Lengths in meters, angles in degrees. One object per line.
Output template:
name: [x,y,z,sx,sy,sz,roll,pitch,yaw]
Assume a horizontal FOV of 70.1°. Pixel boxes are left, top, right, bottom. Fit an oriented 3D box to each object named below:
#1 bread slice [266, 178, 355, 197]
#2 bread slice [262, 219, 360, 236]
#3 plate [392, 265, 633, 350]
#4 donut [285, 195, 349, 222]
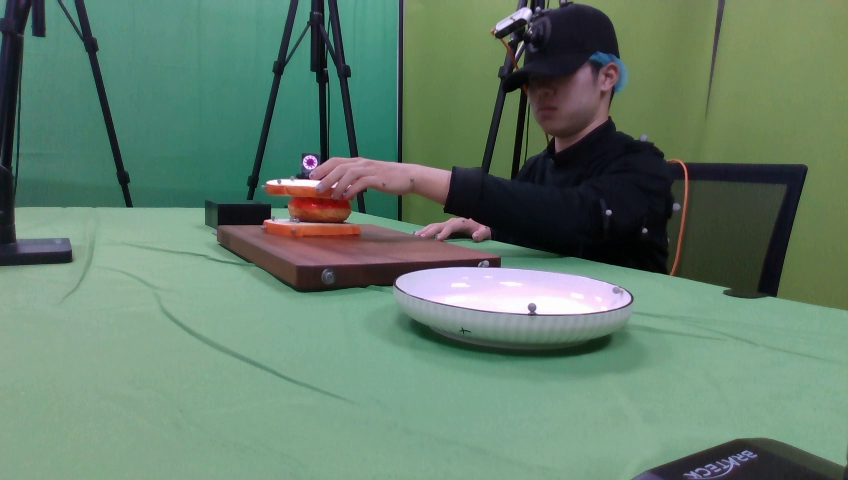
bread slice: [-0.172,-0.080,0.923,0.135,0.018,0.106,0,10,-11]
bread slice: [-0.179,-0.021,0.931,0.132,0.019,0.104,-2,7,-35]
plate: [0.075,0.057,0.533,0.209,0.038,0.209,3,7,0]
donut: [-0.166,-0.051,0.937,0.099,0.048,0.099,4,6,0]
